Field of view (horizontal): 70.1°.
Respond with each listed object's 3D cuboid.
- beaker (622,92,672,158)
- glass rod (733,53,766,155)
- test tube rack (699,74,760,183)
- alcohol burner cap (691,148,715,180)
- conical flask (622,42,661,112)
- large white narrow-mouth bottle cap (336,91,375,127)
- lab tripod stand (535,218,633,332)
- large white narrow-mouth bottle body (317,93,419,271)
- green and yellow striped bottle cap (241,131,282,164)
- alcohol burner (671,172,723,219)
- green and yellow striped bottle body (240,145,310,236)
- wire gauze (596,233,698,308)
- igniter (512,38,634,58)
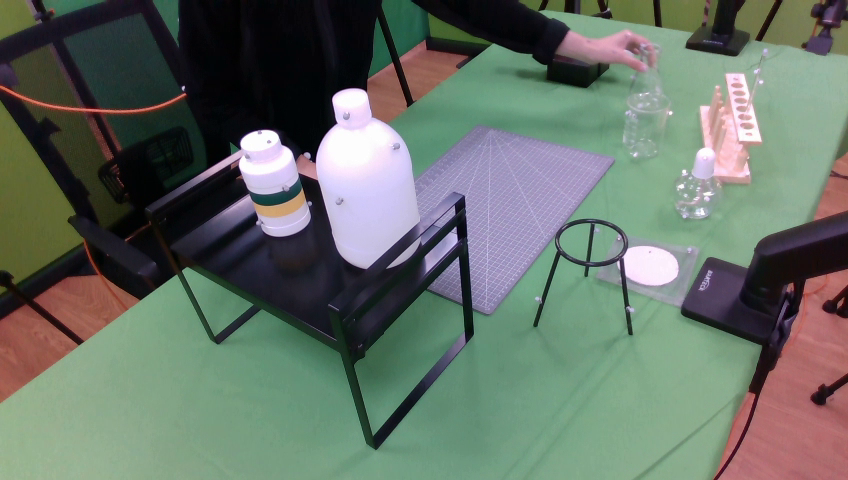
[{"bbox_3d":[0.402,-0.209,1.106,0.074,0.101,0.083,-9,40,-2],"label":"beaker"},{"bbox_3d":[0.540,-0.219,1.006,0.008,0.201,0.008,-5,45,6],"label":"glass rod"},{"bbox_3d":[0.547,-0.208,1.095,0.066,0.085,0.242,6,42,16],"label":"test tube rack"},{"bbox_3d":[0.432,-0.120,0.930,0.034,0.048,0.033,-7,48,8],"label":"alcohol burner cap"},{"bbox_3d":[0.424,-0.317,1.167,0.075,0.122,0.075,-5,41,5],"label":"conical flask"},{"bbox_3d":[-0.067,-0.129,0.595,0.038,0.024,0.037,-3,41,3],"label":"large white narrow-mouth bottle cap"},{"bbox_3d":[0.216,0.050,0.803,0.148,0.132,0.147,-4,42,4],"label":"lab tripod stand"},{"bbox_3d":[-0.062,-0.065,0.653,0.102,0.195,0.101,-3,41,3],"label":"large white narrow-mouth bottle body"},{"bbox_3d":[-0.187,-0.107,0.695,0.045,0.020,0.045,-3,39,3],"label":"green and yellow striped bottle cap"},{"bbox_3d":[0.434,-0.093,0.955,0.078,0.119,0.077,-3,43,4],"label":"alcohol burner"},{"bbox_3d":[-0.181,-0.068,0.729,0.063,0.120,0.063,-4,40,4],"label":"green and yellow striped bottle body"},{"bbox_3d":[0.331,0.038,0.897,0.124,0.011,0.121,18,47,26],"label":"wire gauze"},{"bbox_3d":[0.328,-0.433,1.360,0.275,0.025,0.057,12,33,20],"label":"igniter"}]
